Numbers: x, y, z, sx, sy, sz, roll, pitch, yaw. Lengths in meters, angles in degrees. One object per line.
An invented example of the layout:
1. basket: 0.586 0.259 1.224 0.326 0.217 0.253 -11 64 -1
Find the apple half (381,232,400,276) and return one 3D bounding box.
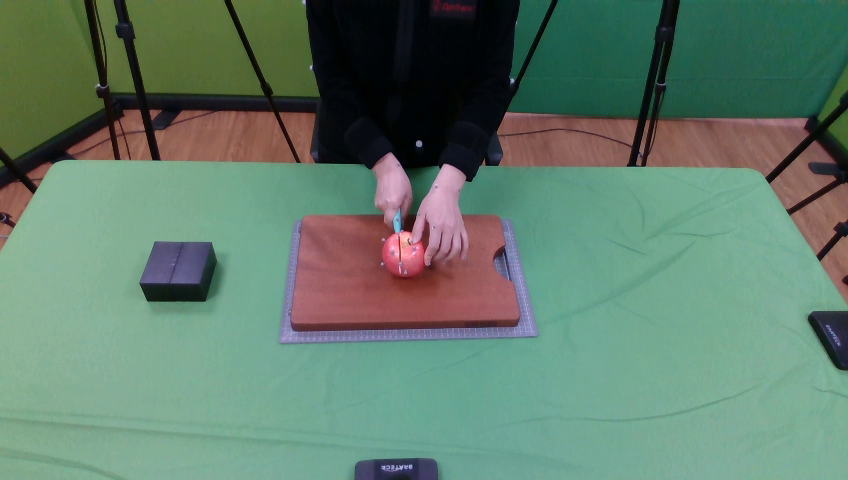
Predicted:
1. apple half: -0.062 0.028 1.091 0.033 0.081 0.081 -3 47 -6

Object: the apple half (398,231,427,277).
1. apple half: -0.022 0.027 1.096 0.053 0.075 0.080 1 42 -10

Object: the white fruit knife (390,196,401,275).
1. white fruit knife: -0.050 -0.013 1.117 0.016 0.027 0.206 -4 45 -4
